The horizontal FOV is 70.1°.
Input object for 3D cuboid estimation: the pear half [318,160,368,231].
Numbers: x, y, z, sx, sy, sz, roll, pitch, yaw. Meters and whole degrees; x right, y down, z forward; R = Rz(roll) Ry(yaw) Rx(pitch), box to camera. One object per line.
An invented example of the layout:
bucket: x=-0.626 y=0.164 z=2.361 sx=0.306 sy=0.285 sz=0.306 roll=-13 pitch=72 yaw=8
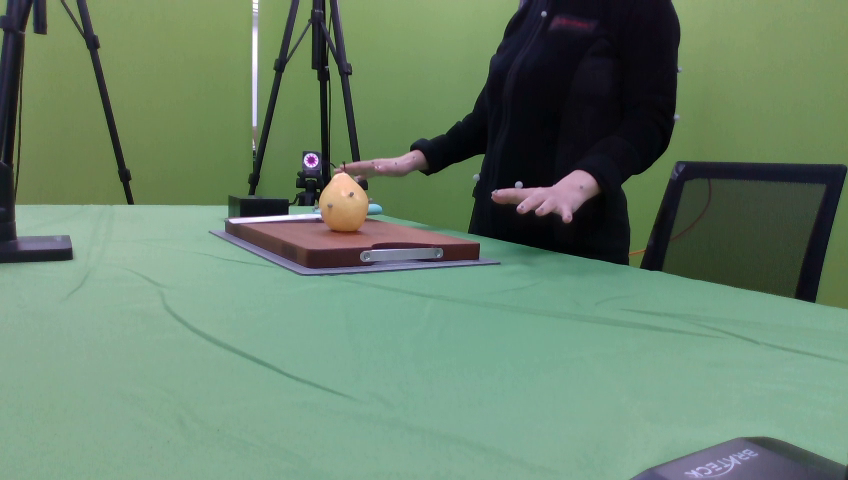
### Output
pear half: x=-0.120 y=-0.067 z=0.927 sx=0.077 sy=0.110 sz=0.055 roll=-7 pitch=11 yaw=-29

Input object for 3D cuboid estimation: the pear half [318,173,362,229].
pear half: x=-0.136 y=-0.062 z=0.959 sx=0.071 sy=0.088 sz=0.031 roll=-7 pitch=11 yaw=-29

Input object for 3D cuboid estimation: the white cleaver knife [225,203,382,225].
white cleaver knife: x=-0.202 y=-0.040 z=1.069 sx=0.288 sy=0.021 sz=0.065 roll=-8 pitch=17 yaw=-32
